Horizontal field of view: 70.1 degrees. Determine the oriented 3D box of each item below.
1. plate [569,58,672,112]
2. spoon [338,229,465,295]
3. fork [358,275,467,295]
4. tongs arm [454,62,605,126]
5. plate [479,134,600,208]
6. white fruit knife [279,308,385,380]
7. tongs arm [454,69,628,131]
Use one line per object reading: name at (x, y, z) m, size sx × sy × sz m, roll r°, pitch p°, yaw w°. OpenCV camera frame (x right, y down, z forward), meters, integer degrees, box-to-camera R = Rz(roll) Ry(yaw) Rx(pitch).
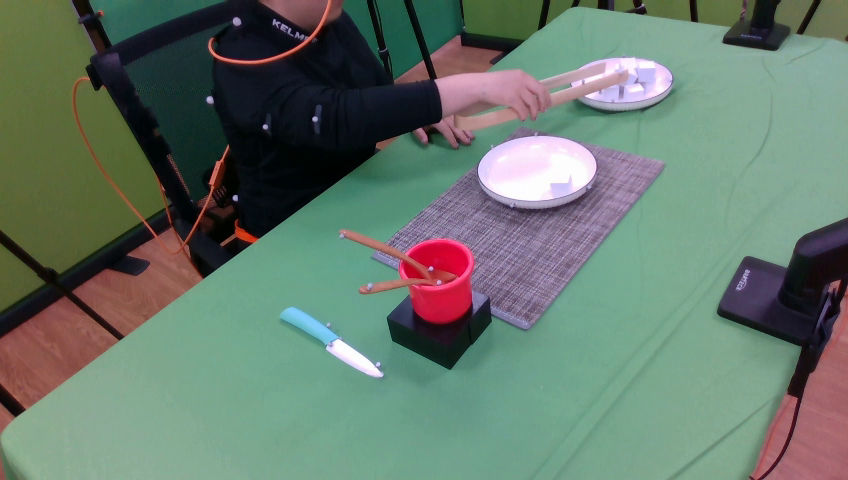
plate at (0.411, -0.323, 1.274) m, size 0.209 × 0.038 × 0.208 m, roll -5°, pitch 41°, yaw 5°
spoon at (-0.025, 0.026, 0.776) m, size 0.021 × 0.195 × 0.041 m, roll -41°, pitch 34°, yaw 31°
fork at (-0.009, 0.056, 0.739) m, size 0.028 × 0.018 × 0.209 m, roll 48°, pitch 23°, yaw 26°
tongs arm at (0.213, -0.291, 1.181) m, size 0.389 × 0.028 × 0.028 m, roll -23°, pitch 44°, yaw -24°
plate at (0.202, -0.117, 1.065) m, size 0.207 × 0.039 × 0.206 m, roll -5°, pitch 40°, yaw 5°
white fruit knife at (-0.130, 0.143, 0.845) m, size 0.205 × 0.016 × 0.027 m, roll 25°, pitch 79°, yaw 32°
tongs arm at (0.232, -0.272, 1.153) m, size 0.387 × 0.026 × 0.050 m, roll -23°, pitch 40°, yaw -23°
